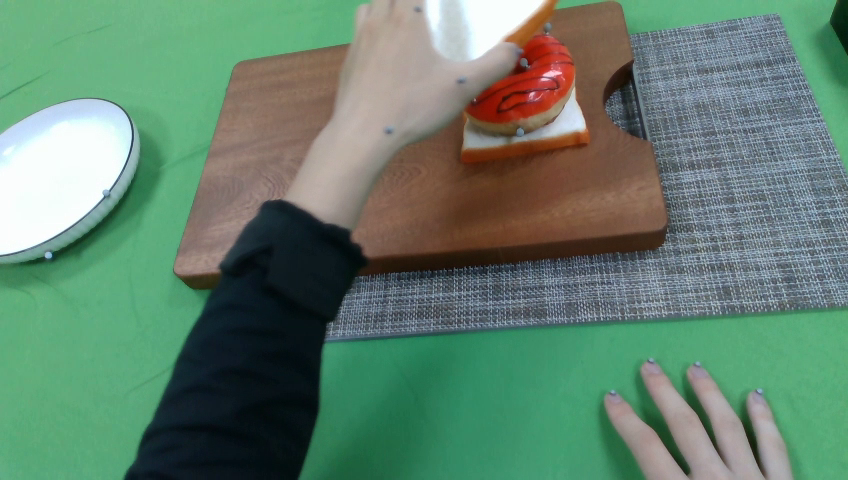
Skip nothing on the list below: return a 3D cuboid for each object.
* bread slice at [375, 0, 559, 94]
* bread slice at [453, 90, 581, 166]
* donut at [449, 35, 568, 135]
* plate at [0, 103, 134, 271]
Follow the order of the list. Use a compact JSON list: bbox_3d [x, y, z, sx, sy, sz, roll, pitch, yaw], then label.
[{"bbox_3d":[0.040,-0.170,0.458,0.106,0.018,0.134,27,71,32],"label":"bread slice"},{"bbox_3d":[0.073,-0.125,0.530,0.105,0.019,0.130,-9,57,8],"label":"bread slice"},{"bbox_3d":[0.068,-0.129,0.497,0.099,0.049,0.098,-8,56,12],"label":"donut"},{"bbox_3d":[-0.392,-0.055,0.625,0.209,0.038,0.207,-7,56,10],"label":"plate"}]
